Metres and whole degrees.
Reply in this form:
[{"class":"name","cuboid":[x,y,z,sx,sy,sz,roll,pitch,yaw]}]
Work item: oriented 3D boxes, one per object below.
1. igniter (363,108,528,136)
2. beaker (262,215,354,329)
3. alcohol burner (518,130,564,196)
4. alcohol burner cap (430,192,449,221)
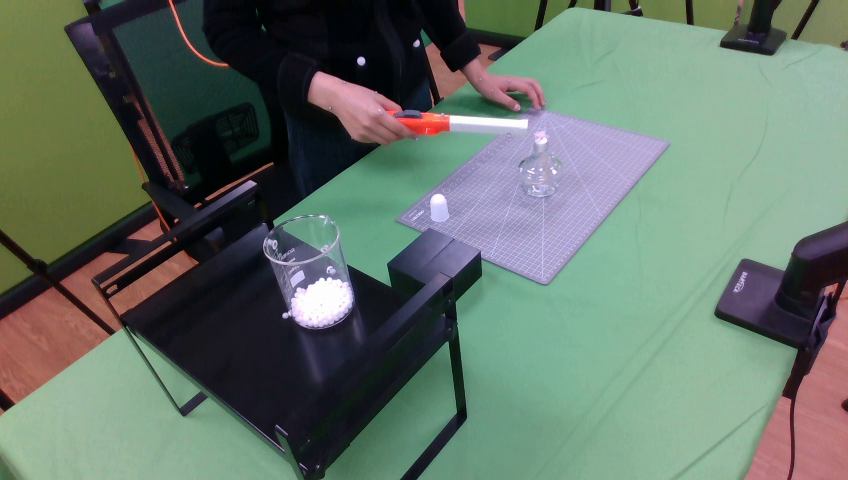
[{"class":"igniter","cuboid":[0.032,-0.195,1.000,0.276,0.057,0.025,4,67,6]},{"class":"beaker","cuboid":[-0.112,0.034,0.616,0.073,0.101,0.084,13,44,23]},{"class":"alcohol burner","cuboid":[0.199,-0.135,1.027,0.078,0.119,0.077,-5,42,5]},{"class":"alcohol burner cap","cuboid":[0.025,-0.059,1.020,0.034,0.048,0.033,-4,41,4]}]
